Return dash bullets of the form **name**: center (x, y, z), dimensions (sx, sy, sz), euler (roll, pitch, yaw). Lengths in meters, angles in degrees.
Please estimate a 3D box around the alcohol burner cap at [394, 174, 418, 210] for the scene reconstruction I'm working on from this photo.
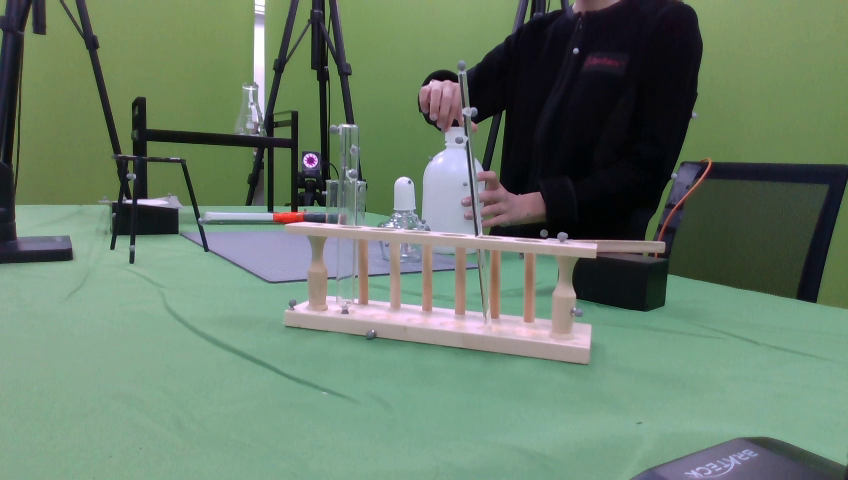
- **alcohol burner cap**: center (-0.025, -0.067, 0.834), dimensions (0.034, 0.048, 0.034), euler (-1, 12, 1)

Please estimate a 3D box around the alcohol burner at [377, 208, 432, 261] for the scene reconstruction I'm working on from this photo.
- **alcohol burner**: center (-0.027, -0.031, 0.838), dimensions (0.078, 0.119, 0.078), euler (0, 6, 0)

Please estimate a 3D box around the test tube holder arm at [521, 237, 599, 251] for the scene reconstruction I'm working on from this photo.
- **test tube holder arm**: center (0.144, 0.004, 0.635), dimensions (0.088, 0.015, 0.010), euler (0, 13, -19)

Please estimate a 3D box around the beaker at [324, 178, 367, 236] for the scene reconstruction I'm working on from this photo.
- **beaker**: center (-0.139, -0.060, 1.083), dimensions (0.074, 0.100, 0.083), euler (-3, 10, -31)

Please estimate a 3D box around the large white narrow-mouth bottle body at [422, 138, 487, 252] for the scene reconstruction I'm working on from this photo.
- **large white narrow-mouth bottle body**: center (0.050, -0.082, 0.962), dimensions (0.102, 0.194, 0.102), euler (2, 8, 0)

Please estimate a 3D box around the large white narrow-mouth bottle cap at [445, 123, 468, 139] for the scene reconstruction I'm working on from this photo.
- **large white narrow-mouth bottle cap**: center (0.051, -0.171, 0.949), dimensions (0.038, 0.024, 0.037), euler (2, 8, 0)

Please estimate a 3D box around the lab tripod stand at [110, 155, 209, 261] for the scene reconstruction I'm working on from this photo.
- **lab tripod stand**: center (-0.361, -0.046, 0.806), dimensions (0.148, 0.131, 0.148), euler (2, 5, 0)

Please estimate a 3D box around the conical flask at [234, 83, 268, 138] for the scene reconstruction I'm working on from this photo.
- **conical flask**: center (-0.400, -0.298, 1.396), dimensions (0.075, 0.122, 0.075), euler (2, 8, 0)

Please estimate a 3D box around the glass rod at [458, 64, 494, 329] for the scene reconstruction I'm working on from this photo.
- **glass rod**: center (0.039, -0.029, 0.449), dimensions (0.008, 0.199, 0.008), euler (-7, 9, 1)

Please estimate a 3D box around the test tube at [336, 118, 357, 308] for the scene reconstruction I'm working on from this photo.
- **test tube**: center (-0.061, -0.019, 0.476), dimensions (0.017, 0.150, 0.017), euler (2, 11, 0)

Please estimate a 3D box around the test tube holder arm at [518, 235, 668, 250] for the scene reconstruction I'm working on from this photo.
- **test tube holder arm**: center (0.185, 0.003, 0.654), dimensions (0.179, 0.015, 0.013), euler (0, 13, -18)

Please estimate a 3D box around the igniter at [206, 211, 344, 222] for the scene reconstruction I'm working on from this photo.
- **igniter**: center (-0.302, -0.048, 1.249), dimensions (0.278, 0.025, 0.057), euler (-2, -2, -27)

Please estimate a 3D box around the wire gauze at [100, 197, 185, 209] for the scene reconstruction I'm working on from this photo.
- **wire gauze**: center (-0.469, -0.062, 1.008), dimensions (0.126, 0.011, 0.121), euler (-2, 8, -25)

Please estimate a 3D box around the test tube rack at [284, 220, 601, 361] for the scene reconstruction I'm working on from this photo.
- **test tube rack**: center (0.013, 0.032, 0.482), dimensions (0.242, 0.085, 0.067), euler (4, 7, 16)
